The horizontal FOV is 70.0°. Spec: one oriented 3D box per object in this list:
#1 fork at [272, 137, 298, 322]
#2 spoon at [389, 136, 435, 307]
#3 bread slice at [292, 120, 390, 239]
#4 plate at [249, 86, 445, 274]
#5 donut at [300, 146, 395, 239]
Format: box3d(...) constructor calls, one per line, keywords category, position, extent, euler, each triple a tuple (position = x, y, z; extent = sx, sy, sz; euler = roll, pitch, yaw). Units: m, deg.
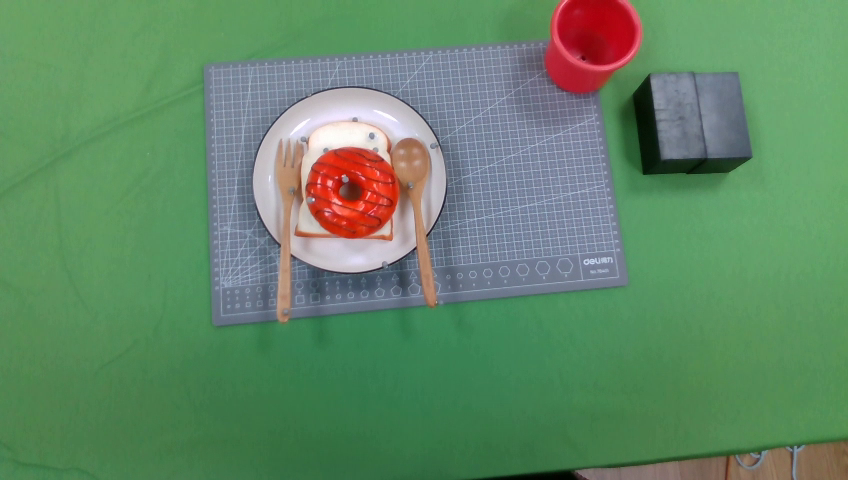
box3d(category="fork", position=(-0.147, -0.016, 0.634), extent=(0.028, 0.019, 0.205), euler=(4, 66, -16))
box3d(category="spoon", position=(-0.009, -0.023, 0.638), extent=(0.041, 0.022, 0.192), euler=(-8, 67, 1))
box3d(category="bread slice", position=(-0.089, -0.068, 0.660), extent=(0.105, 0.019, 0.131), euler=(1, 80, -4))
box3d(category="plate", position=(-0.082, -0.063, 0.657), extent=(0.209, 0.038, 0.208), euler=(1, 79, -3))
box3d(category="donut", position=(-0.079, -0.050, 0.627), extent=(0.099, 0.048, 0.098), euler=(1, 83, -5))
